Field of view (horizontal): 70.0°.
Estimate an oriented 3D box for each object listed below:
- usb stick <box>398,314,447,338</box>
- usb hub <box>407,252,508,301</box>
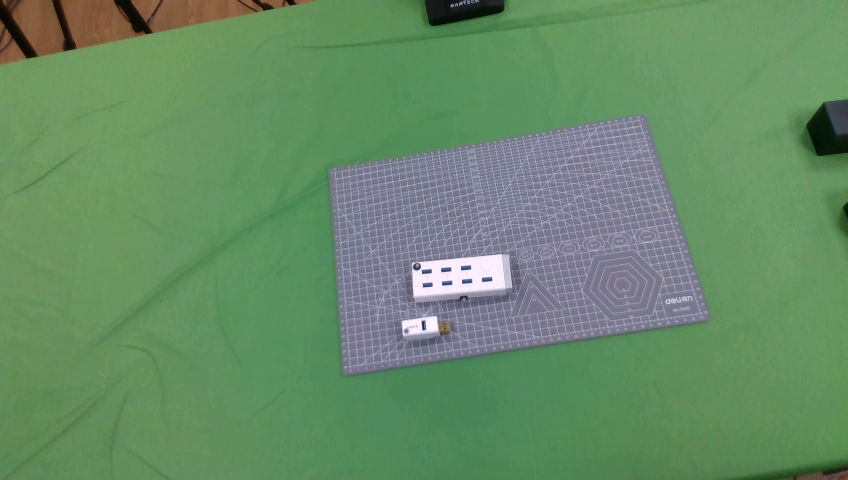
[{"bbox_3d":[-0.001,0.106,0.746,0.059,0.027,0.021,-7,67,1],"label":"usb stick"},{"bbox_3d":[0.042,0.045,0.767,0.125,0.025,0.049,-5,67,4],"label":"usb hub"}]
